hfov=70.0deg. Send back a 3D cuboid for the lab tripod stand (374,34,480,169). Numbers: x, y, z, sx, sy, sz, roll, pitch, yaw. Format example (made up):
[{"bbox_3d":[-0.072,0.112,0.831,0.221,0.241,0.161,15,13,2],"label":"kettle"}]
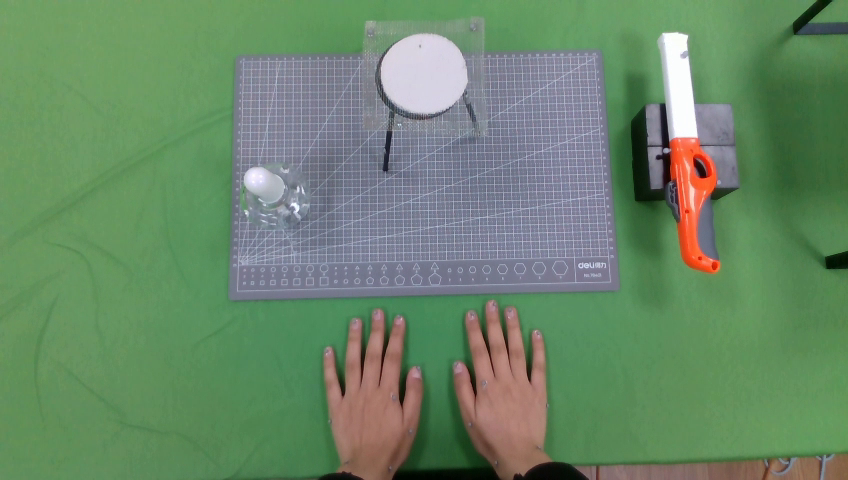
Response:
[{"bbox_3d":[-0.008,-0.155,0.667,0.148,0.132,0.148,0,80,1],"label":"lab tripod stand"}]

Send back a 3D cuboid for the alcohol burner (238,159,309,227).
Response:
[{"bbox_3d":[-0.167,-0.055,0.656,0.078,0.119,0.077,0,81,0],"label":"alcohol burner"}]

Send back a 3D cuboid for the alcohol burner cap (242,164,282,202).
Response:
[{"bbox_3d":[-0.169,-0.061,0.621,0.034,0.048,0.033,-1,79,7],"label":"alcohol burner cap"}]

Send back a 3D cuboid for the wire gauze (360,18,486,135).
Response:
[{"bbox_3d":[-0.001,-0.164,0.600,0.125,0.011,0.121,1,80,0],"label":"wire gauze"}]

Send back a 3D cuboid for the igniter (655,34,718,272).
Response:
[{"bbox_3d":[0.288,-0.100,0.672,0.057,0.025,0.275,-1,77,-4],"label":"igniter"}]
